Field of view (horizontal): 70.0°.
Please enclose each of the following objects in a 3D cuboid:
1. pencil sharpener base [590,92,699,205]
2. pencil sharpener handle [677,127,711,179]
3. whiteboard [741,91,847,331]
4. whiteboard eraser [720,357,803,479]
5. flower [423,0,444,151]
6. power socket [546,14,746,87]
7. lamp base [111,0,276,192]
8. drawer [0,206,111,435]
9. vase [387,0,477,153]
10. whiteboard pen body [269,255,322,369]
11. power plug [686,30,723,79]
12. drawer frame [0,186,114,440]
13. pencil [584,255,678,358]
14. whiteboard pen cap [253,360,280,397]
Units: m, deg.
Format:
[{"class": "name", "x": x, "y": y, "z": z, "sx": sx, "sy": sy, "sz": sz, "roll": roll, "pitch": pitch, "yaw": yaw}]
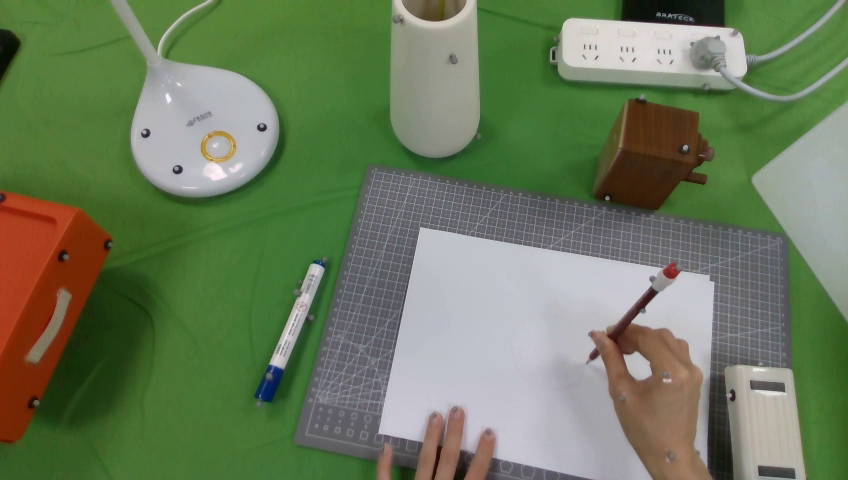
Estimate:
[{"class": "pencil sharpener base", "x": 0.220, "y": -0.088, "z": 0.611, "sx": 0.076, "sy": 0.108, "sz": 0.061, "roll": 12, "pitch": 68, "yaw": 5}, {"class": "pencil sharpener handle", "x": 0.270, "y": -0.082, "z": 0.595, "sx": 0.030, "sy": 0.068, "sz": 0.036, "roll": 12, "pitch": 67, "yaw": 5}, {"class": "whiteboard", "x": 0.492, "y": -0.067, "z": 0.528, "sx": 0.144, "sy": 0.307, "sz": 0.215, "roll": -13, "pitch": 67, "yaw": -25}, {"class": "whiteboard eraser", "x": 0.300, "y": 0.163, "z": 0.543, "sx": 0.055, "sy": 0.042, "sz": 0.112, "roll": 5, "pitch": 68, "yaw": 1}, {"class": "flower", "x": 0.015, "y": -0.216, "z": 0.524, "sx": 0.038, "sy": 0.364, "sz": 0.043, "roll": -2, "pitch": 50, "yaw": -8}, {"class": "power socket", "x": 0.258, "y": -0.220, "z": 0.703, "sx": 0.227, "sy": 0.033, "sz": 0.071, "roll": 5, "pitch": 69, "yaw": 2}, {"class": "lamp base", "x": -0.254, "y": -0.162, "z": 0.602, "sx": 0.160, "sy": 0.181, "sz": 0.178, "roll": -43, "pitch": 71, "yaw": -16}, {"class": "drawer", "x": -0.418, "y": 0.046, "z": 0.525, "sx": 0.211, "sy": 0.074, "sz": 0.193, "roll": 13, "pitch": 70, "yaw": 5}, {"class": "vase", "x": 0.006, "y": -0.170, "z": 0.595, "sx": 0.098, "sy": 0.201, "sz": 0.097, "roll": -1, "pitch": 67, "yaw": 2}, {"class": "whiteboard pen body", "x": -0.128, "y": 0.078, "z": 0.591, "sx": 0.017, "sy": 0.017, "sz": 0.140, "roll": 14, "pitch": 65, "yaw": 6}, {"class": "power plug", "x": 0.306, "y": -0.199, "z": 0.669, "sx": 0.035, "sy": 0.053, "sz": 0.072, "roll": 14, "pitch": 70, "yaw": 6}, {"class": "drawer frame", "x": -0.425, "y": 0.047, "z": 0.527, "sx": 0.213, "sy": 0.083, "sz": 0.200, "roll": 13, "pitch": 70, "yaw": 3}, {"class": "pencil", "x": 0.163, "y": 0.063, "z": 0.500, "sx": 0.012, "sy": 0.195, "sz": 0.012, "roll": 3, "pitch": 59, "yaw": -4}, {"class": "whiteboard pen cap", "x": -0.146, "y": 0.128, "z": 0.566, "sx": 0.018, "sy": 0.018, "sz": 0.033, "roll": 15, "pitch": 64, "yaw": 7}]
